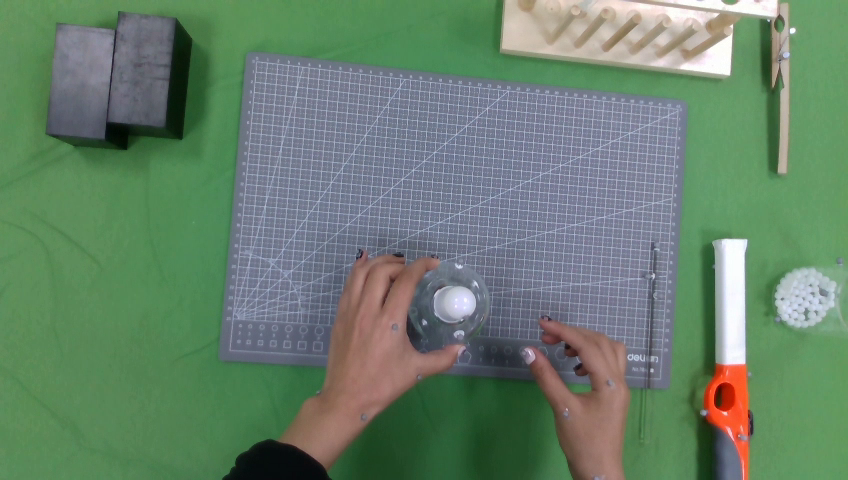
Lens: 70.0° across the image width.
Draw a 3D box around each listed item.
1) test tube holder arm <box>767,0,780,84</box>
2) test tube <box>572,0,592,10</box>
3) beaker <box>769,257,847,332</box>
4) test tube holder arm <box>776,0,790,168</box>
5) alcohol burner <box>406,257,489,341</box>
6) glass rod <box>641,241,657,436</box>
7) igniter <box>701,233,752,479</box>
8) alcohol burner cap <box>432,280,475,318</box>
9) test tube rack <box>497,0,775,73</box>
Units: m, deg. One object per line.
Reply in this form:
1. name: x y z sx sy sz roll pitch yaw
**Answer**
1. test tube holder arm: 0.371 -0.210 0.642 0.010 0.015 0.087 -3 89 31
2. test tube: 0.168 -0.243 0.538 0.017 0.150 0.017 1 85 -11
3. beaker: 0.402 0.050 0.596 0.074 0.100 0.084 18 86 -4
4. test tube holder arm: 0.378 -0.165 0.638 0.013 0.015 0.178 -4 89 30
5. alcohol burner: 0.023 0.053 0.548 0.078 0.119 0.077 0 84 -4
6. glass rod: 0.230 0.101 0.620 0.008 0.008 0.199 4 88 -6
7. igniter: 0.310 0.131 0.621 0.057 0.025 0.276 1 89 -15
8. alcohol burner cap: 0.027 0.049 0.512 0.034 0.048 0.034 1 83 -11
9. test tube rack: 0.201 -0.221 0.590 0.243 0.085 0.066 5 88 -5
